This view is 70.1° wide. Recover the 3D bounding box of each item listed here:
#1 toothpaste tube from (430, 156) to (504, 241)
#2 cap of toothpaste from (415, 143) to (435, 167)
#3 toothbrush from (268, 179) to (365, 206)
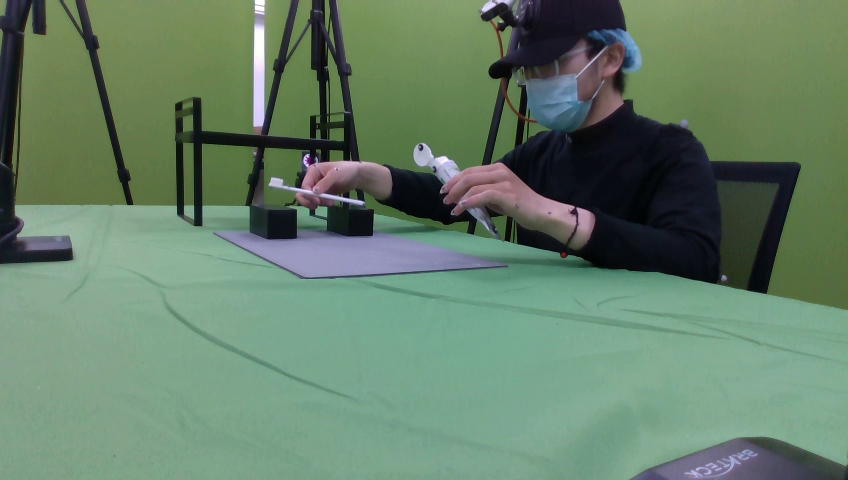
[{"bbox_3d":[0.061,-0.065,0.876,0.164,0.034,0.055,54,18,27],"label":"toothpaste tube"},{"bbox_3d":[0.001,-0.127,0.905,0.037,0.037,0.011,9,17,40],"label":"cap of toothpaste"},{"bbox_3d":[-0.189,-0.084,1.087,0.183,0.016,0.014,11,-1,-29],"label":"toothbrush"}]
